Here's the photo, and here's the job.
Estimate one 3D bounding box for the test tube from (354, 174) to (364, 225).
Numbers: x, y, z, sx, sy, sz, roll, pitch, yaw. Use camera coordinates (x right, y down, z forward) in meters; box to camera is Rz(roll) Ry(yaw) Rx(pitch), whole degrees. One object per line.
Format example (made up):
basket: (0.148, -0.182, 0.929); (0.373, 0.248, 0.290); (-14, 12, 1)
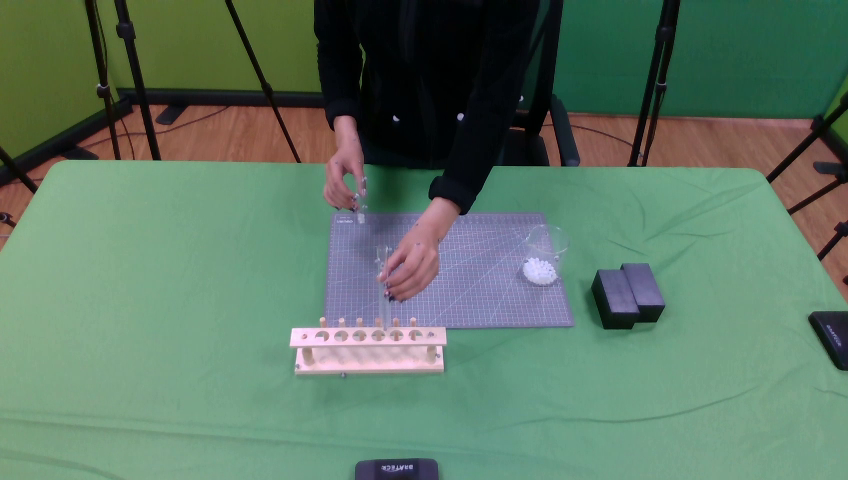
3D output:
test tube: (-0.119, -0.071, 1.109); (0.017, 0.151, 0.017); (2, 59, -3)

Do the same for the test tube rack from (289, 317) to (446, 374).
test tube rack: (-0.089, 0.167, 0.987); (0.242, 0.085, 0.066); (0, 46, -4)

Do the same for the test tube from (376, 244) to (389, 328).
test tube: (-0.061, 0.071, 0.908); (0.017, 0.151, 0.017); (0, 32, 0)

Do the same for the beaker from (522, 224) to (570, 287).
beaker: (0.221, 0.032, 1.129); (0.084, 0.101, 0.073); (-6, 46, -9)
